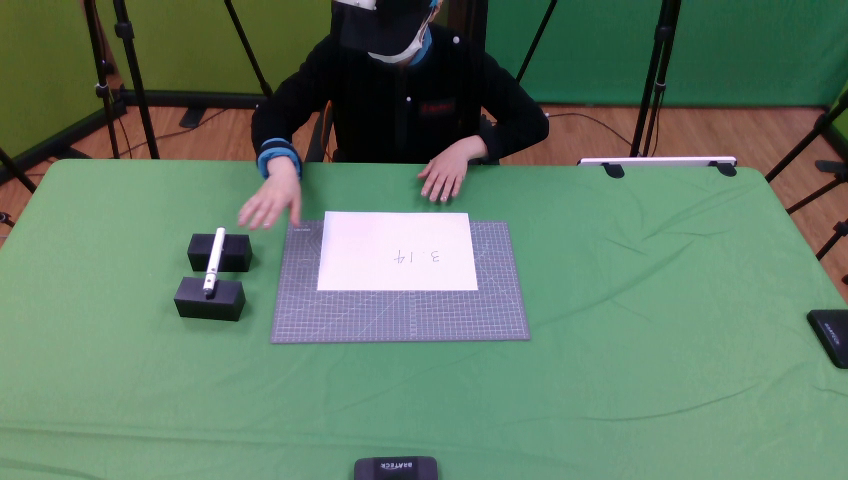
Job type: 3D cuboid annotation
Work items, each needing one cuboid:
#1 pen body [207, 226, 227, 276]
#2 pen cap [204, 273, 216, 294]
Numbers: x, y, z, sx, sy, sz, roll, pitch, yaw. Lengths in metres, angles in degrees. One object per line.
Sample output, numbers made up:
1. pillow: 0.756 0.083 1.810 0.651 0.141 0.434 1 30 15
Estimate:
1. pen body: -0.369 0.030 1.076 0.017 0.017 0.143 0 46 -5
2. pen cap: -0.364 0.075 1.032 0.017 0.017 0.038 -2 45 -6
